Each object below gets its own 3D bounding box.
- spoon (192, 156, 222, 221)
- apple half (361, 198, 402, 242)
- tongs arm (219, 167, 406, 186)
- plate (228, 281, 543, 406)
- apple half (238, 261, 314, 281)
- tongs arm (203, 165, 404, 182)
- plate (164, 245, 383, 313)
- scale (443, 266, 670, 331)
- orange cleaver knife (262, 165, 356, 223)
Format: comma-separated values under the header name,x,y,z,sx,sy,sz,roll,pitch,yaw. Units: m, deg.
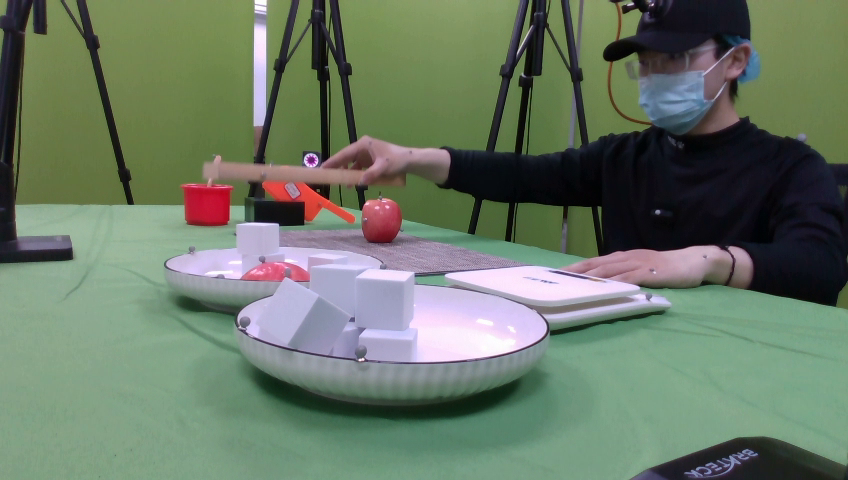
name,x,y,z,sx,sy,sz,roll,pitch,yaw
spoon,-0.430,-0.108,1.222,0.041,0.021,0.193,-2,52,1
apple half,-0.066,-0.033,1.014,0.053,0.074,0.081,9,6,21
tongs arm,-0.164,-0.105,1.023,0.028,0.028,0.390,5,7,44
plate,-0.025,0.067,0.413,0.208,0.039,0.207,3,7,0
apple half,-0.141,0.036,0.578,0.081,0.033,0.081,2,11,0
tongs arm,-0.187,-0.110,1.046,0.050,0.026,0.387,10,10,42
plate,-0.145,0.038,0.600,0.209,0.038,0.209,2,8,0
scale,0.131,0.052,0.603,0.202,0.031,0.148,-2,9,-37
orange cleaver knife,-0.243,-0.081,1.292,0.212,0.077,0.012,34,-8,-26
